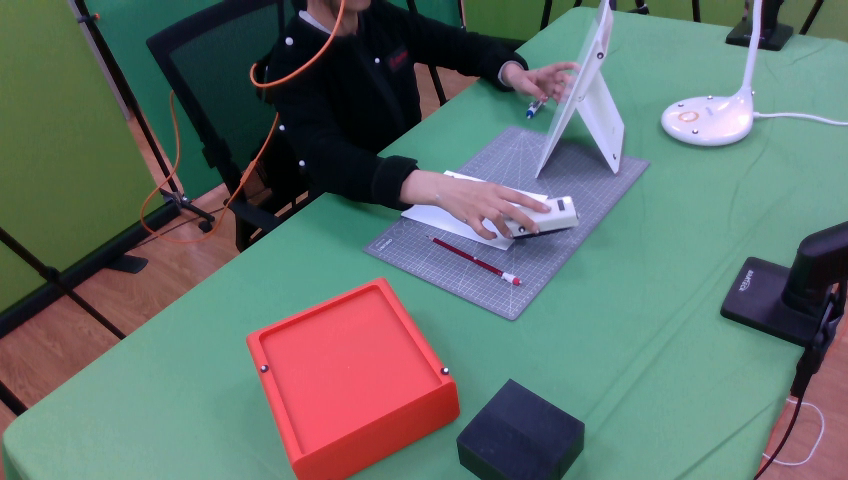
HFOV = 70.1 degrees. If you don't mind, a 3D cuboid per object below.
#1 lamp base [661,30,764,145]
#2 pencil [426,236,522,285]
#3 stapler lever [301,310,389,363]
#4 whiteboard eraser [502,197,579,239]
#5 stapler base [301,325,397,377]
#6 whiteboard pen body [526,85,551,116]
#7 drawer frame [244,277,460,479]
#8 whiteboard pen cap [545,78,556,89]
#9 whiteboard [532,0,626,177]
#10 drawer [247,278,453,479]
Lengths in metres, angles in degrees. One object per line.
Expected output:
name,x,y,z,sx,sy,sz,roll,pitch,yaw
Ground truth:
lamp base,0.535,-0.287,1.096,0.179,0.181,0.159,-10,40,-4
pencil,0.072,0.029,0.941,0.192,0.012,0.012,27,52,37
stapler lever,-0.104,0.126,0.798,0.118,0.040,0.026,-17,41,-15
whiteboard eraser,0.177,-0.031,0.926,0.112,0.042,0.055,-11,33,10
stapler base,-0.102,0.142,0.815,0.131,0.024,0.041,-18,42,-13
whiteboard pen body,0.251,-0.305,1.298,0.017,0.017,0.141,15,46,26
drawer frame,-0.093,0.167,0.755,0.202,0.083,0.211,-23,43,-17
whiteboard pen cap,0.280,-0.344,1.335,0.018,0.018,0.033,15,45,25
whiteboard,0.321,-0.258,1.050,0.144,0.306,0.217,21,45,5
drawer,-0.096,0.167,0.758,0.195,0.073,0.210,-22,43,-17
